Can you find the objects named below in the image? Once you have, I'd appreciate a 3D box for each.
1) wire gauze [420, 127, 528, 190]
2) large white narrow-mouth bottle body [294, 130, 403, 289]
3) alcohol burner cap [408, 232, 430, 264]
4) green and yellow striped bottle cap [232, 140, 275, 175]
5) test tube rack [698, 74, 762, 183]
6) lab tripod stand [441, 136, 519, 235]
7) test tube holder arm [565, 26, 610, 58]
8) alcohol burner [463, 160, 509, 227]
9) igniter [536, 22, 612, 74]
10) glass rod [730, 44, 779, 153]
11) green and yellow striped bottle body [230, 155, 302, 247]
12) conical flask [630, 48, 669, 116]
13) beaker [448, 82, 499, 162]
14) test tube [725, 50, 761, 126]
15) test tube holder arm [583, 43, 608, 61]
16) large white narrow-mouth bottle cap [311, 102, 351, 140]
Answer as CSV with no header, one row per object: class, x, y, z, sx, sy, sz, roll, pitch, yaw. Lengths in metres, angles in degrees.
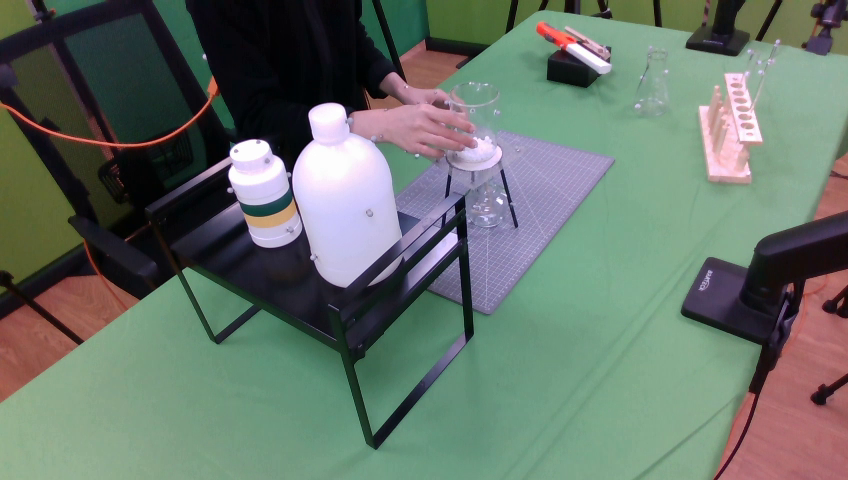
wire gauze,0.076,-0.132,0.926,0.122,0.011,0.124,-33,49,-27
large white narrow-mouth bottle body,-0.082,-0.047,0.634,0.102,0.195,0.101,-4,40,4
alcohol burner cap,-0.010,0.010,0.947,0.034,0.048,0.033,-4,41,4
green and yellow striped bottle cap,-0.192,-0.094,0.680,0.045,0.020,0.045,-5,39,5
test tube rack,0.547,-0.208,1.095,0.066,0.085,0.242,5,42,15
lab tripod stand,0.083,-0.086,0.976,0.148,0.132,0.147,-4,43,4
test tube holder arm,0.369,-0.451,1.373,0.013,0.015,0.177,-39,41,10
alcohol burner,0.102,-0.081,0.982,0.078,0.119,0.077,-4,43,4
igniter,0.330,-0.438,1.366,0.057,0.025,0.274,-11,41,-19
glass rod,0.555,-0.233,1.020,0.008,0.200,0.008,2,40,-1
green and yellow striped bottle body,-0.188,-0.055,0.714,0.063,0.120,0.063,-4,41,4
conical flask,0.456,-0.317,1.205,0.075,0.122,0.075,-4,41,4
beaker,0.075,-0.176,0.903,0.074,0.100,0.084,6,42,11
test tube,0.570,-0.269,1.086,0.017,0.151,0.017,-1,45,1
test tube holder arm,0.379,-0.420,1.341,0.010,0.015,0.087,-39,41,10
large white narrow-mouth bottle cap,-0.089,-0.114,0.578,0.038,0.024,0.037,-4,40,3
